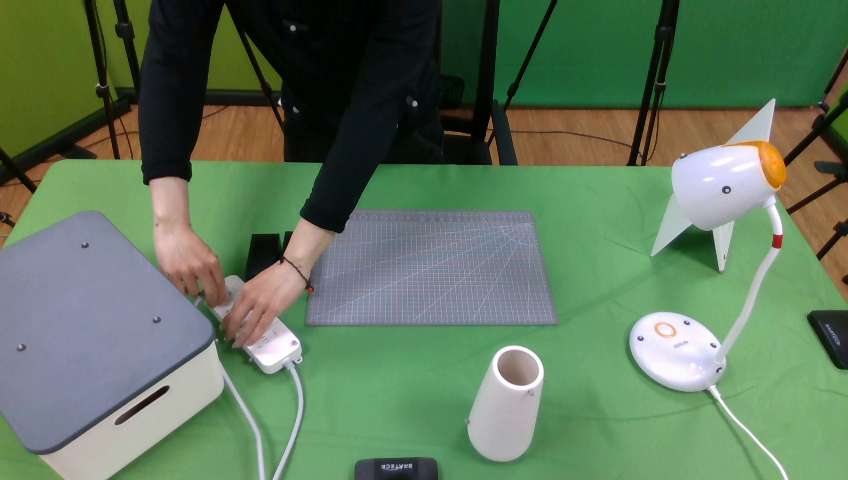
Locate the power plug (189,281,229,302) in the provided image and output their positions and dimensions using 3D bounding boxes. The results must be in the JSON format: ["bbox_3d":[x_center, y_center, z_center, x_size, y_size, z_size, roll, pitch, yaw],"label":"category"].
[{"bbox_3d":[-0.372,0.095,1.039,0.072,0.053,0.035,-22,53,-23],"label":"power plug"}]

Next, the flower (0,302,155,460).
[{"bbox_3d":[-0.553,0.222,0.944,0.361,0.038,0.044,39,62,6],"label":"flower"}]

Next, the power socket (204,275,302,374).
[{"bbox_3d":[-0.296,0.140,1.035,0.072,0.033,0.225,-33,57,-29],"label":"power socket"}]

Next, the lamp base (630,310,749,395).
[{"bbox_3d":[0.447,0.142,0.984,0.161,0.181,0.178,-24,55,-24],"label":"lamp base"}]

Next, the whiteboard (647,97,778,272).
[{"bbox_3d":[0.602,-0.079,1.162,0.144,0.306,0.216,35,51,2],"label":"whiteboard"}]

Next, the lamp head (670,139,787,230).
[{"bbox_3d":[0.415,-0.079,0.812,0.113,0.123,0.112,13,70,-37],"label":"lamp head"}]

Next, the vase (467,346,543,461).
[{"bbox_3d":[0.116,0.235,0.861,0.098,0.201,0.097,1,47,-1],"label":"vase"}]

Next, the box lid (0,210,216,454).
[{"bbox_3d":[-0.504,0.102,0.863,0.369,0.015,0.263,35,53,26],"label":"box lid"}]

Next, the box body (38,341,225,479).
[{"bbox_3d":[-0.506,0.155,0.916,0.362,0.161,0.254,35,54,26],"label":"box body"}]
